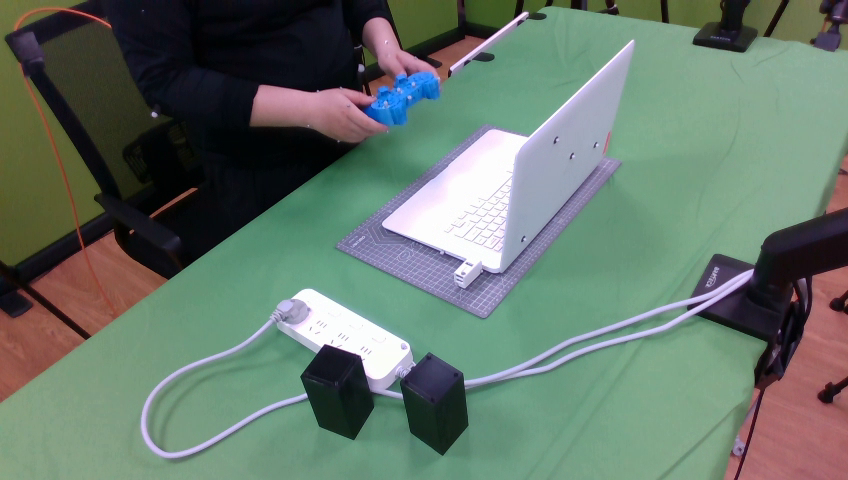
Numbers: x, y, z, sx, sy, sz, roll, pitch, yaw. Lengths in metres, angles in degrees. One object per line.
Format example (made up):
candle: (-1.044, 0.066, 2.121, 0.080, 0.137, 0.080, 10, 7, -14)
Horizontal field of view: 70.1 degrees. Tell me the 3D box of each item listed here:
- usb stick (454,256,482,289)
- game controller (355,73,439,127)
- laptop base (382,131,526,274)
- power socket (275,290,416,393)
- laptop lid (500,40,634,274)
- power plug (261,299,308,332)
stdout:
usb stick: (0.069, 0.044, 0.891, 0.021, 0.027, 0.059, 22, 44, 32)
game controller: (-0.044, -0.244, 1.034, 0.096, 0.052, 0.155, 17, 48, 35)
laptop base: (0.123, -0.081, 1.049, 0.233, 0.023, 0.355, 20, 47, 33)
power socket: (-0.114, 0.133, 0.821, 0.225, 0.033, 0.072, 24, 48, 32)
laptop lid: (0.218, -0.128, 0.906, 0.013, 0.242, 0.358, 28, 50, 25)
power plug: (-0.193, 0.109, 0.830, 0.073, 0.053, 0.035, -35, 47, -23)
